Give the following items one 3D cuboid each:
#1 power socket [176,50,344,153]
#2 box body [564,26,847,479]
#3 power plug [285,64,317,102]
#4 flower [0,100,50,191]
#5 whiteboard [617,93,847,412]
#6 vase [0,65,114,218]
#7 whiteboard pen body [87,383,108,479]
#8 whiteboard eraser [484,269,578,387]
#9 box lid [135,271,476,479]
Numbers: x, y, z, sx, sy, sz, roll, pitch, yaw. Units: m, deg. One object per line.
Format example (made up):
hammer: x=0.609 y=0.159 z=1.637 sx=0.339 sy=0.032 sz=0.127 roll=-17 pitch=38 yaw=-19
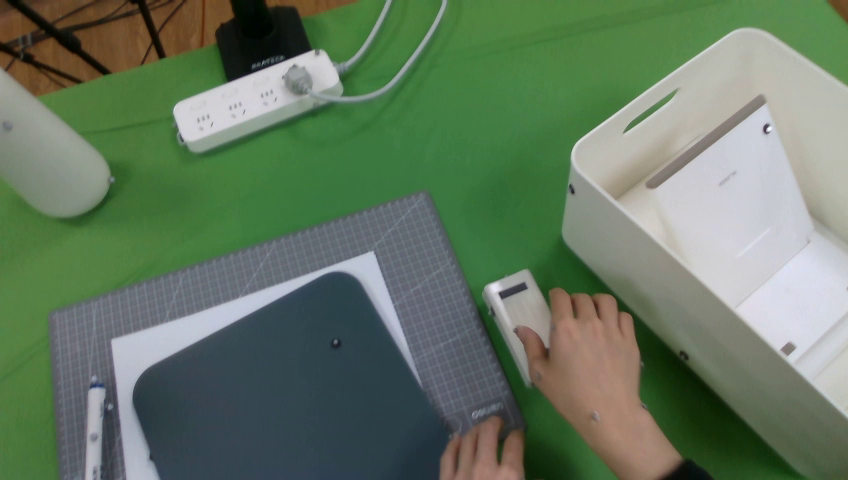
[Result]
power socket: x=-0.209 y=-0.180 z=0.780 sx=0.227 sy=0.033 sz=0.071 roll=-23 pitch=65 yaw=-8
box body: x=0.338 y=0.009 z=0.572 sx=0.254 sy=0.162 sz=0.361 roll=-36 pitch=66 yaw=-13
power plug: x=-0.152 y=-0.186 z=0.754 sx=0.035 sy=0.053 sz=0.072 roll=-14 pitch=69 yaw=-3
flower: x=-0.419 y=-0.143 z=0.592 sx=0.038 sy=0.363 sz=0.044 roll=29 pitch=59 yaw=-1
whiteboard: x=0.336 y=0.003 z=0.586 sx=0.217 sy=0.145 sz=0.303 roll=-36 pitch=65 yaw=-14
vase: x=-0.434 y=-0.106 z=0.667 sx=0.098 sy=0.201 sz=0.097 roll=-2 pitch=63 yaw=5
whiteboard pen body: x=-0.322 y=0.210 z=0.595 sx=0.017 sy=0.017 sz=0.139 roll=-11 pitch=65 yaw=-1
whiteboard eraser: x=0.108 y=0.088 z=0.617 sx=0.055 sy=0.042 sz=0.111 roll=-21 pitch=63 yaw=-8
box lid: x=-0.105 y=0.223 z=0.582 sx=0.263 sy=0.015 sz=0.368 roll=-29 pitch=66 yaw=-10
